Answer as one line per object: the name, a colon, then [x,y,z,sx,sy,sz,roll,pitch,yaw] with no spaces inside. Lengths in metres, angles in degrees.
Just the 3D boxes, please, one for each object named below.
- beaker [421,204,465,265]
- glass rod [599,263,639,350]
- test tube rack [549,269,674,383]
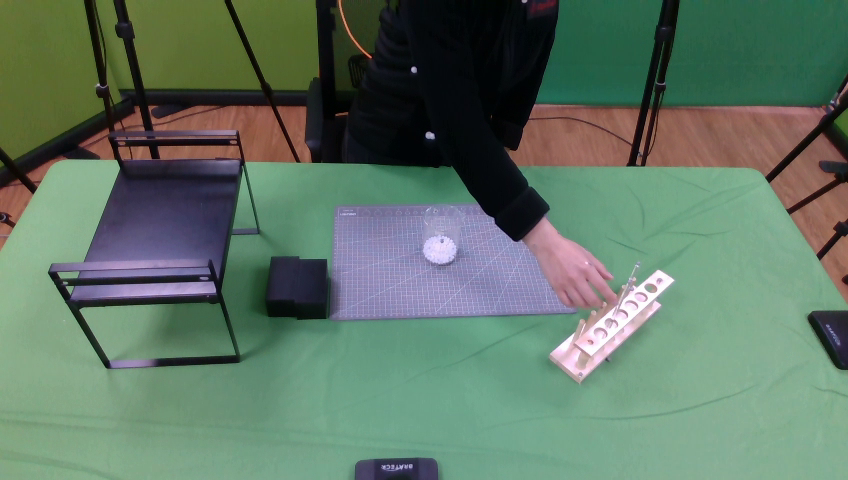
beaker: [0.034,-0.008,1.151,0.084,0.101,0.073,-10,48,-13]
glass rod: [0.312,0.113,0.976,0.008,0.200,0.008,4,40,-3]
test tube rack: [0.326,0.135,1.047,0.242,0.085,0.066,-32,56,-30]
